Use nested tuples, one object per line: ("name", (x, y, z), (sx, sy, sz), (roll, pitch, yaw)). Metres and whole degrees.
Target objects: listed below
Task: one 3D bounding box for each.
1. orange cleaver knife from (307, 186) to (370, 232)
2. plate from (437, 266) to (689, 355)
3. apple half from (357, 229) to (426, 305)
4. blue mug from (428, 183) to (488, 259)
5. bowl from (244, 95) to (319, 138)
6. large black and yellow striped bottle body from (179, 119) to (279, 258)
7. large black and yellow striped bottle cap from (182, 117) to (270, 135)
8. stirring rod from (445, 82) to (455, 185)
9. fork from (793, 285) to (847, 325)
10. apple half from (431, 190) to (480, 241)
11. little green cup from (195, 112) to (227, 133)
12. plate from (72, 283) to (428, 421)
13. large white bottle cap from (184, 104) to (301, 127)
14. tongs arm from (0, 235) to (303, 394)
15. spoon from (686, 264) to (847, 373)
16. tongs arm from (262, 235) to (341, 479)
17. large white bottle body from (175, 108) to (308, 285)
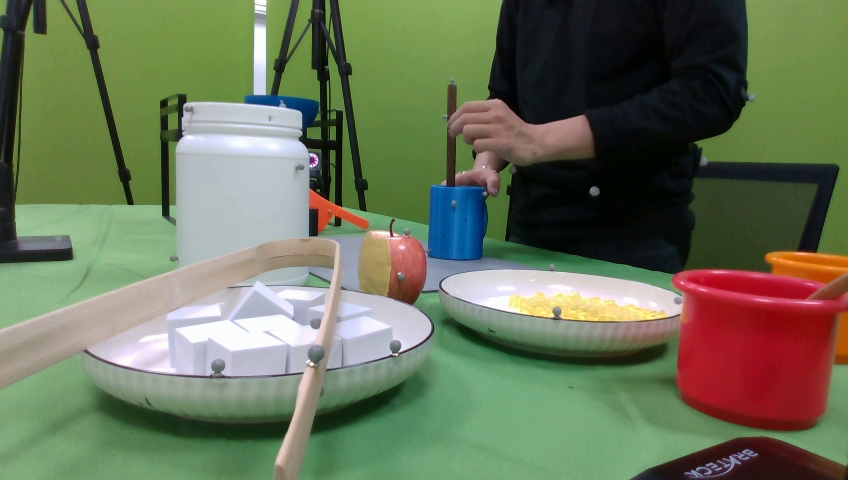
("orange cleaver knife", (-0.197, -0.056, 1.141), (0.212, 0.077, 0.012), (29, 0, -34))
("plate", (0.113, 0.057, 0.518), (0.209, 0.038, 0.209), (3, 7, 0))
("apple half", (-0.026, 0.028, 0.570), (0.053, 0.074, 0.080), (3, 2, -28))
("blue mug", (0.059, -0.031, 0.907), (0.082, 0.106, 0.117), (9, 9, 42))
("bowl", (-0.293, -0.251, 1.249), (0.151, 0.077, 0.151), (2, 8, 0))
("large black and yellow striped bottle body", (-0.271, -0.074, 0.846), (0.131, 0.184, 0.130), (0, 9, 0))
("large black and yellow striped bottle cap", (-0.272, -0.156, 0.833), (0.115, 0.019, 0.115), (1, 7, 0))
("stirring rod", (0.038, -0.144, 0.895), (0.014, 0.176, 0.006), (6, 19, 21))
("fork", (0.331, 0.019, 0.442), (0.028, 0.018, 0.207), (-2, -36, -15))
("apple half", (0.046, -0.040, 0.903), (0.081, 0.081, 0.032), (1, 17, -6))
("little green cup", (-0.412, -0.227, 1.171), (0.061, 0.038, 0.061), (3, 8, 0))
("plate", (-0.102, 0.066, 0.381), (0.208, 0.039, 0.207), (2, 7, 0))
("large white bottle cap", (-0.184, -0.126, 0.618), (0.115, 0.018, 0.115), (2, 8, 0))
("tongs arm", (-0.157, 0.038, 0.351), (0.028, 0.028, 0.388), (-3, 8, 12))
("spoon", (0.214, 0.032, 0.328), (0.042, 0.021, 0.193), (-3, -35, -26))
("tongs arm", (-0.074, 0.039, 0.349), (0.051, 0.026, 0.384), (-2, 10, -3))
("large white bottle body", (-0.188, -0.042, 0.630), (0.131, 0.184, 0.130), (2, 8, 0))
